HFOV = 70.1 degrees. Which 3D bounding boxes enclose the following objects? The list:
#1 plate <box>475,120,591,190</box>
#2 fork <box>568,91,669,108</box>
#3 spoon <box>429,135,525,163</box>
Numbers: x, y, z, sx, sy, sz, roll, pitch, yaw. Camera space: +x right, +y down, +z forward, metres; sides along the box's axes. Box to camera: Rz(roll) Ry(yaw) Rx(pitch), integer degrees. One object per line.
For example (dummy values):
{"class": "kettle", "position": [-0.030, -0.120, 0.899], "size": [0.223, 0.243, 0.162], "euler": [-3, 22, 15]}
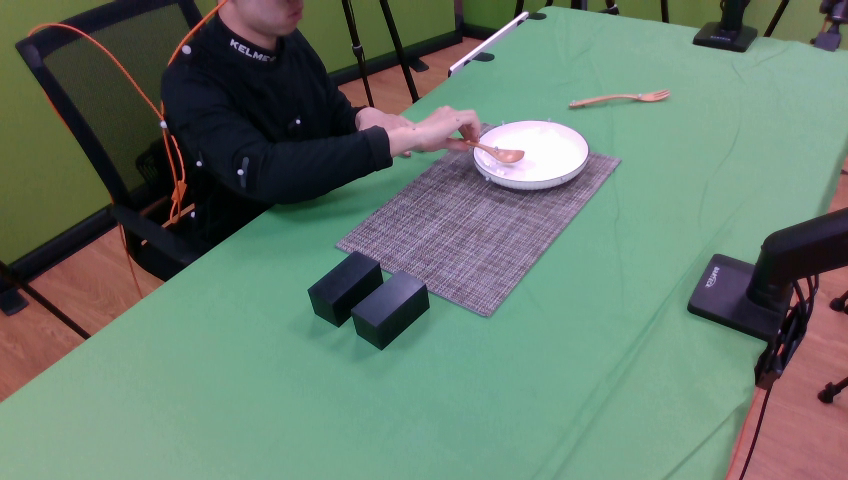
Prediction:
{"class": "plate", "position": [0.196, -0.151, 1.099], "size": [0.207, 0.039, 0.206], "euler": [-4, 40, 4]}
{"class": "fork", "position": [0.402, -0.290, 1.252], "size": [0.207, 0.019, 0.028], "euler": [-4, 47, 1]}
{"class": "spoon", "position": [0.095, -0.173, 1.112], "size": [0.192, 0.022, 0.041], "euler": [20, 51, 23]}
